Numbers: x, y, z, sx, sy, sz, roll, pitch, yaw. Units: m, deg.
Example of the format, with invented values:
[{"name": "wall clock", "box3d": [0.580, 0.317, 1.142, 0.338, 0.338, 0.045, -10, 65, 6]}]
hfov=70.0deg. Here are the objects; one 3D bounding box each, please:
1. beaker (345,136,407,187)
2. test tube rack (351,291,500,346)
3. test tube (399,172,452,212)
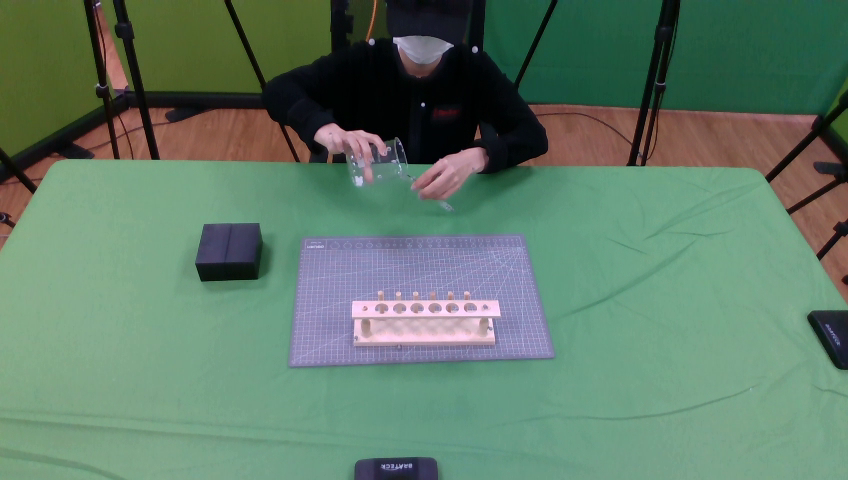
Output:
[{"name": "beaker", "box3d": [-0.089, -0.139, 1.112, 0.100, 0.084, 0.073, -16, 37, -11]}, {"name": "test tube rack", "box3d": [0.001, 0.129, 1.026, 0.242, 0.085, 0.066, 0, 46, -4]}, {"name": "test tube", "box3d": [0.005, -0.092, 1.193, 0.017, 0.151, 0.017, -24, 51, 34]}]
